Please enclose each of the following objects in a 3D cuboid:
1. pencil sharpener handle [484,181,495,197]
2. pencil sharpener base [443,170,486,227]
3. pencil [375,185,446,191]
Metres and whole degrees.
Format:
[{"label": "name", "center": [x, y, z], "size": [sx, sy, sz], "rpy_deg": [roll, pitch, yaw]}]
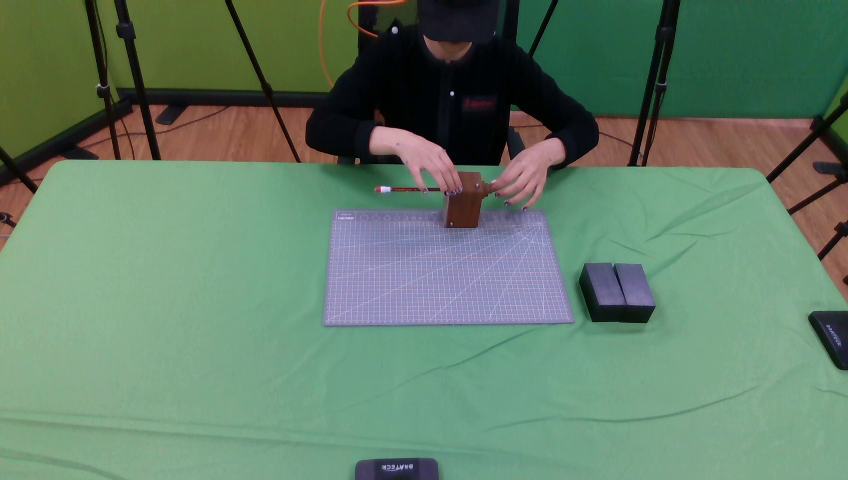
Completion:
[{"label": "pencil sharpener handle", "center": [0.131, -0.105, 1.219], "size": [0.031, 0.036, 0.067], "rpy_deg": [1, 15, -4]}, {"label": "pencil sharpener base", "center": [0.080, -0.082, 1.220], "size": [0.077, 0.107, 0.061], "rpy_deg": [0, 46, -4]}, {"label": "pencil", "center": [0.000, -0.101, 1.197], "size": [0.194, 0.012, 0.012], "rpy_deg": [0, 46, -4]}]
